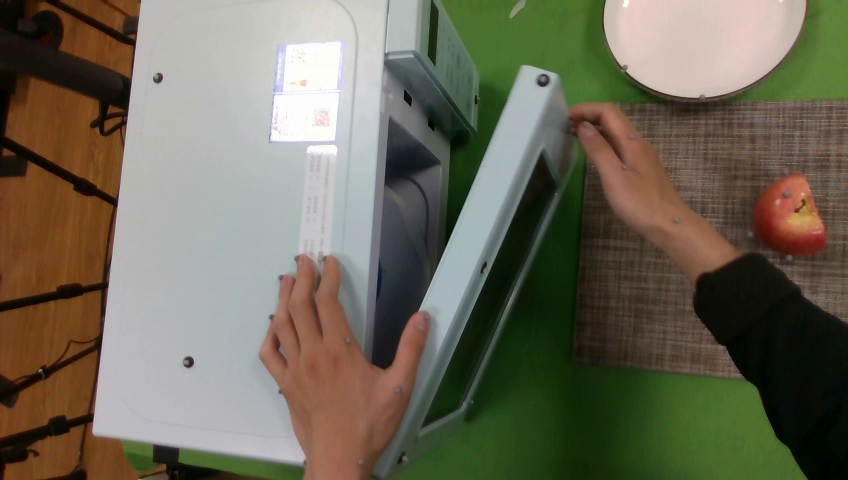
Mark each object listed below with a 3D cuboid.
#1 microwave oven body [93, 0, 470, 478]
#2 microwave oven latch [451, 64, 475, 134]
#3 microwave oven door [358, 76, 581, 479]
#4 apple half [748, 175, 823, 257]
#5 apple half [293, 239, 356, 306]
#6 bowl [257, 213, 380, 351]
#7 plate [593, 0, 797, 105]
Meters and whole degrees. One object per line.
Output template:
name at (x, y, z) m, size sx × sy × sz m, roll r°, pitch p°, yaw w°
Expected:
microwave oven body at (-0.134, -0.008, 0.666) m, size 0.325 × 0.261 × 0.440 m, roll 1°, pitch 84°, yaw 17°
microwave oven latch at (0.044, -0.170, 0.732) m, size 0.030 × 0.029 × 0.079 m, roll 6°, pitch 85°, yaw 17°
microwave oven door at (0.060, 0.047, 0.593) m, size 0.039 × 0.245 × 0.355 m, roll 24°, pitch 90°, yaw 20°
apple half at (0.358, -0.019, 0.611) m, size 0.053 × 0.075 × 0.080 m, roll -19°, pitch 81°, yaw 20°
apple half at (-0.116, 0.040, 0.682) m, size 0.081 × 0.033 × 0.081 m, roll 2°, pitch 99°, yaw 15°
bowl at (-0.107, 0.045, 0.693) m, size 0.150 × 0.077 × 0.151 m, roll 1°, pitch 93°, yaw 24°
plate at (0.298, -0.249, 0.682) m, size 0.207 × 0.039 × 0.207 m, roll -2°, pitch 83°, yaw 17°
